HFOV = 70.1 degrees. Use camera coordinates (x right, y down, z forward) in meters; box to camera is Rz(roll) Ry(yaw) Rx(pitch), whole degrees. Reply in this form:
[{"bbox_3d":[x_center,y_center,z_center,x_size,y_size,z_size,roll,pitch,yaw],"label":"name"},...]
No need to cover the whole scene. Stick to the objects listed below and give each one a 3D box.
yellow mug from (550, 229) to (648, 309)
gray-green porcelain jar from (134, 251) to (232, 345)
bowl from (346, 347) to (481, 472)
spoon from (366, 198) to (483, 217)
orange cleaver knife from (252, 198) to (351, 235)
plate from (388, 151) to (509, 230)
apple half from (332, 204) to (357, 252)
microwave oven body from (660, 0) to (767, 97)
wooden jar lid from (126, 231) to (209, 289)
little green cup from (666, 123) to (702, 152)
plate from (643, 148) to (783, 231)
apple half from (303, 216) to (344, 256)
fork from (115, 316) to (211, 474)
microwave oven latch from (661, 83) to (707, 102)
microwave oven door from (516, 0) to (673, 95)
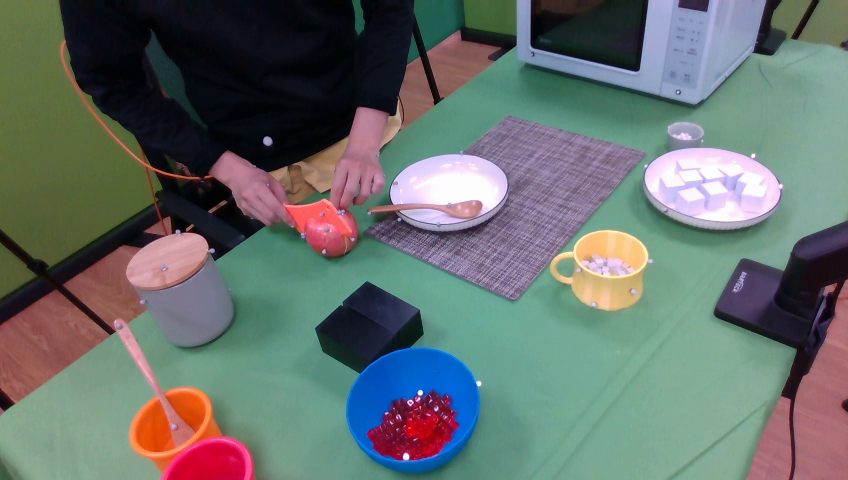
[{"bbox_3d":[0.245,0.040,0.857,0.130,0.064,0.099,1,42,11],"label":"yellow mug"},{"bbox_3d":[-0.334,0.077,0.849,0.106,0.127,0.105,-4,41,4],"label":"gray-green porcelain jar"},{"bbox_3d":[-0.008,0.205,0.691,0.151,0.077,0.150,-4,40,4],"label":"bowl"},{"bbox_3d":[0.001,-0.056,0.997,0.194,0.022,0.041,1,52,-9],"label":"spoon"},{"bbox_3d":[-0.200,-0.037,0.972,0.209,0.077,0.012,5,43,39],"label":"orange cleaver knife"},{"bbox_3d":[0.044,-0.082,1.042,0.209,0.038,0.208,-4,40,4],"label":"plate"},{"bbox_3d":[-0.139,-0.023,0.980,0.080,0.075,0.053,18,43,31],"label":"apple half"},{"bbox_3d":[0.473,-0.517,1.314,0.438,0.261,0.327,26,51,34],"label":"microwave oven body"},{"bbox_3d":[-0.340,0.030,0.809,0.108,0.021,0.108,-5,39,5],"label":"wooden jar lid"},{"bbox_3d":[0.472,-0.183,1.103,0.061,0.039,0.061,-5,40,5],"label":"little green cup"},{"bbox_3d":[0.464,-0.079,0.986,0.207,0.039,0.206,-4,40,4],"label":"plate"},{"bbox_3d":[-0.163,0.002,0.954,0.081,0.081,0.033,18,49,27],"label":"apple half"},{"bbox_3d":[-0.308,0.179,0.708,0.028,0.018,0.207,-30,89,-22],"label":"fork"},{"bbox_3d":[0.516,-0.298,1.202,0.078,0.029,0.030,25,51,33],"label":"microwave oven latch"},{"bbox_3d":[0.344,-0.458,1.256,0.353,0.245,0.039,26,51,33],"label":"microwave oven door"}]
